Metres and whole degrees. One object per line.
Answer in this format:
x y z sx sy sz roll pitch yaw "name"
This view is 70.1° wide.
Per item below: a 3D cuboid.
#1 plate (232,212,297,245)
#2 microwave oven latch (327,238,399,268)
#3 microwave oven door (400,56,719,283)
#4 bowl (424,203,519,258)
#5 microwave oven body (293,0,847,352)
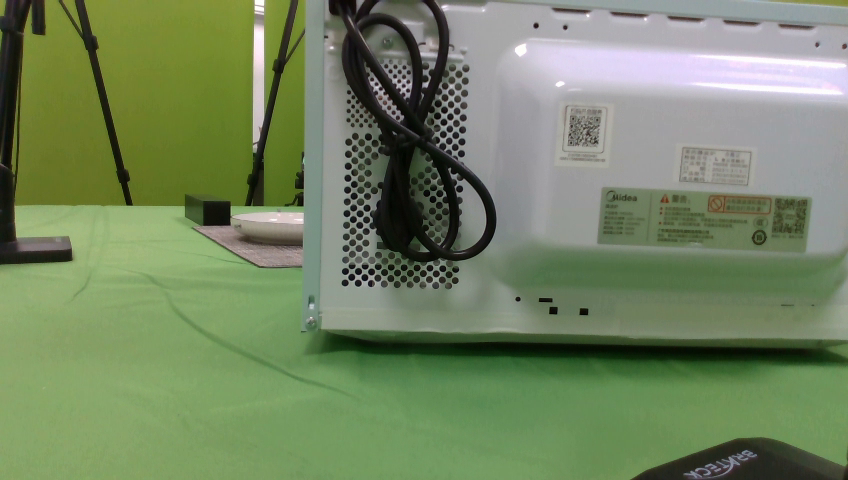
-0.214 -0.019 1.018 0.208 0.039 0.207 2 7 0 "plate"
-0.069 0.015 0.694 0.079 0.029 0.030 3 7 -3 "microwave oven latch"
0.155 -0.078 0.698 0.356 0.243 0.039 2 8 -5 "microwave oven door"
0.073 -0.015 0.962 0.151 0.077 0.151 3 8 0 "bowl"
0.122 -0.055 0.550 0.442 0.260 0.325 3 7 -5 "microwave oven body"
